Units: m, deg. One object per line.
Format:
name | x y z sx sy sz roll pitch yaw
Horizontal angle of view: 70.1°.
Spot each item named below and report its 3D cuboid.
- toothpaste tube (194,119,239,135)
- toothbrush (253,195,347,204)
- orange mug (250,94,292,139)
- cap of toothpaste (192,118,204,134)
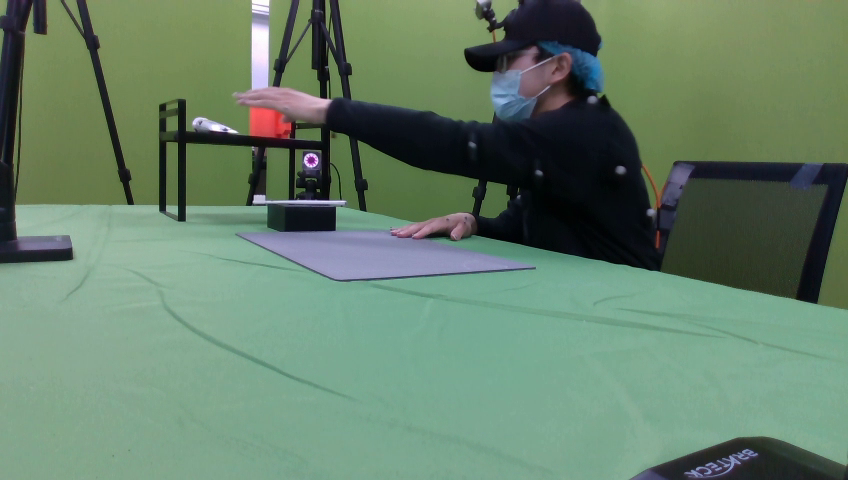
toothpaste tube | -0.451 -0.238 1.289 0.055 0.034 0.164 -8 16 -38
toothbrush | -0.234 -0.076 1.154 0.183 0.016 0.014 -1 5 -27
orange mug | -0.339 -0.279 1.364 0.125 0.100 0.084 4 6 45
cap of toothpaste | -0.497 -0.255 1.350 0.037 0.037 0.011 -4 14 -38
